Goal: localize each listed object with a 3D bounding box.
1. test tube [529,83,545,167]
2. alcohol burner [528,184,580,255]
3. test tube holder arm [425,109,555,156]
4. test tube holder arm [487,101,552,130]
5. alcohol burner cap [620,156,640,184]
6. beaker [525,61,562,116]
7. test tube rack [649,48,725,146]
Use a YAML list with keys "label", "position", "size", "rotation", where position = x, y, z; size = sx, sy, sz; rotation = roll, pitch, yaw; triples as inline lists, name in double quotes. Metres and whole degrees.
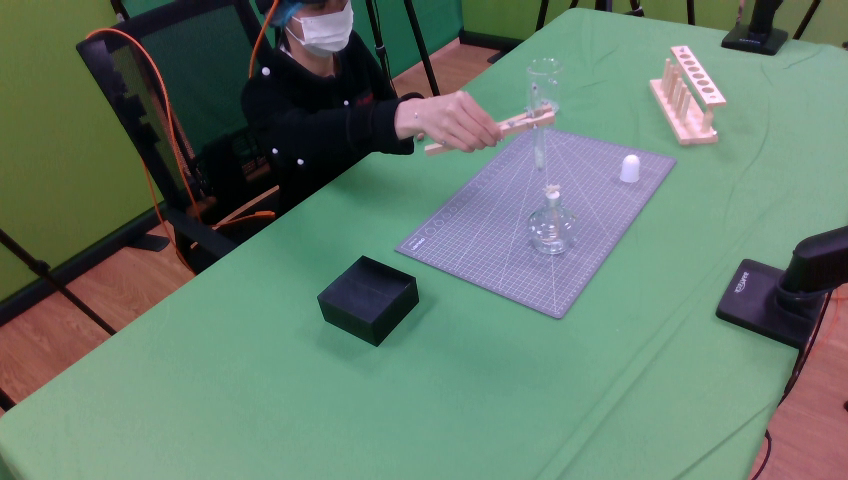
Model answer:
- label: "test tube"
  position: [0.154, -0.152, 0.822]
  size: [0.017, 0.151, 0.017]
  rotation: [-6, 54, 9]
- label: "alcohol burner"
  position: [0.196, -0.036, 0.911]
  size: [0.078, 0.119, 0.077]
  rotation: [-6, 41, 5]
- label: "test tube holder arm"
  position: [0.086, -0.144, 0.812]
  size: [0.178, 0.015, 0.013]
  rotation: [-16, 50, 10]
- label: "test tube holder arm"
  position: [0.128, -0.162, 0.809]
  size: [0.088, 0.015, 0.010]
  rotation: [-22, 50, 5]
- label: "alcohol burner cap"
  position: [0.358, -0.124, 1.047]
  size: [0.034, 0.048, 0.033]
  rotation: [-4, 40, 4]
- label: "beaker"
  position: [0.248, -0.309, 1.246]
  size: [0.073, 0.101, 0.084]
  rotation: [29, 52, 36]
- label: "test tube rack"
  position: [0.508, -0.285, 1.186]
  size: [0.067, 0.085, 0.241]
  rotation: [-4, 40, 6]
